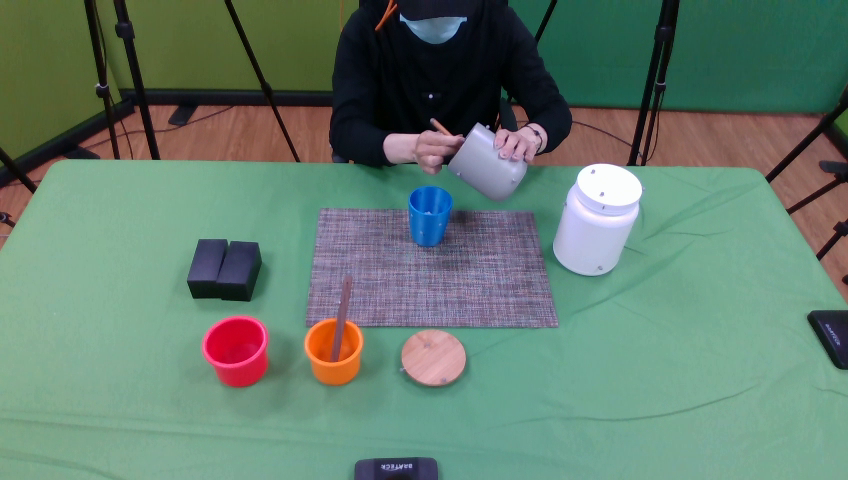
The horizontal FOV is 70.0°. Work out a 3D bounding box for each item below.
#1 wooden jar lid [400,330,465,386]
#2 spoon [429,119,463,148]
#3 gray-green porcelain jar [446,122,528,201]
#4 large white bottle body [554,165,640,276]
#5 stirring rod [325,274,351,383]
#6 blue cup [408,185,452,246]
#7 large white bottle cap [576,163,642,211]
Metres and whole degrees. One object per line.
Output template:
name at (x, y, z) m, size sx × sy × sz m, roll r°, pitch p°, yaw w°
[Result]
wooden jar lid at (0.015, 0.198, 1.008) m, size 0.108 × 0.021 × 0.107 m, roll 2°, pitch 47°, yaw -2°
spoon at (0.080, -0.160, 1.138) m, size 0.194 × 0.021 × 0.041 m, roll 47°, pitch 23°, yaw -12°
gray-green porcelain jar at (0.121, -0.142, 1.131) m, size 0.126 × 0.106 × 0.105 m, roll 34°, pitch 49°, yaw -4°
large white bottle body at (0.326, -0.037, 1.141) m, size 0.131 × 0.185 × 0.130 m, roll 2°, pitch 46°, yaw -2°
stirring rod at (-0.137, 0.142, 0.971) m, size 0.014 × 0.006 × 0.176 m, roll 10°, pitch 89°, yaw 1°
blue cup at (0.008, -0.042, 1.176) m, size 0.093 × 0.101 × 0.092 m, roll 3°, pitch 47°, yaw -3°
large white bottle cap at (0.330, -0.096, 1.080) m, size 0.115 × 0.018 × 0.114 m, roll 2°, pitch 46°, yaw -2°
